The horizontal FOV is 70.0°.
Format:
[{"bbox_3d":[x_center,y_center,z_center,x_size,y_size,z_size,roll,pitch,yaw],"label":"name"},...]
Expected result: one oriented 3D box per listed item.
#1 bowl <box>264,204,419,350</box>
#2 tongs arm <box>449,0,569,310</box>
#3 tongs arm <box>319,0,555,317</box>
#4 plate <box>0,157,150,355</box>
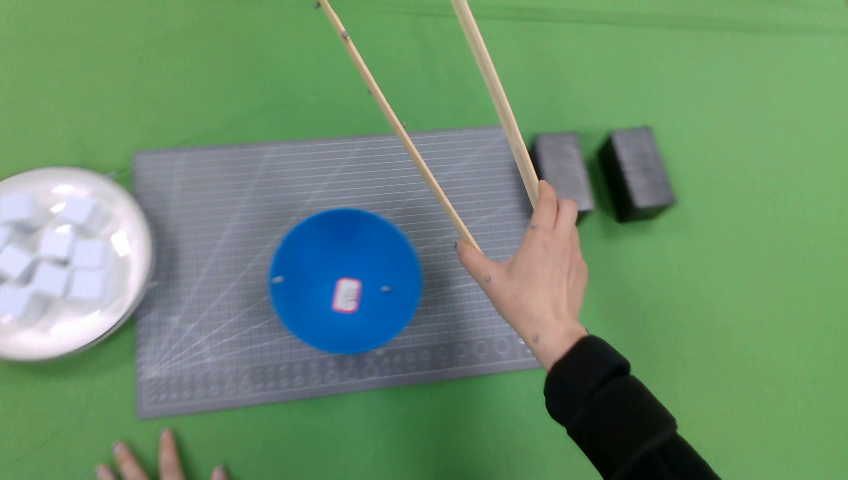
[{"bbox_3d":[-0.084,0.045,0.630,0.152,0.077,0.150,2,72,-6],"label":"bowl"},{"bbox_3d":[0.066,-0.120,0.578,0.028,0.028,0.386,-17,84,-17],"label":"tongs arm"},{"bbox_3d":[0.004,-0.092,0.562,0.051,0.026,0.384,-28,86,-15],"label":"tongs arm"},{"bbox_3d":[-0.388,0.016,0.626,0.208,0.039,0.206,2,73,-5],"label":"plate"}]
